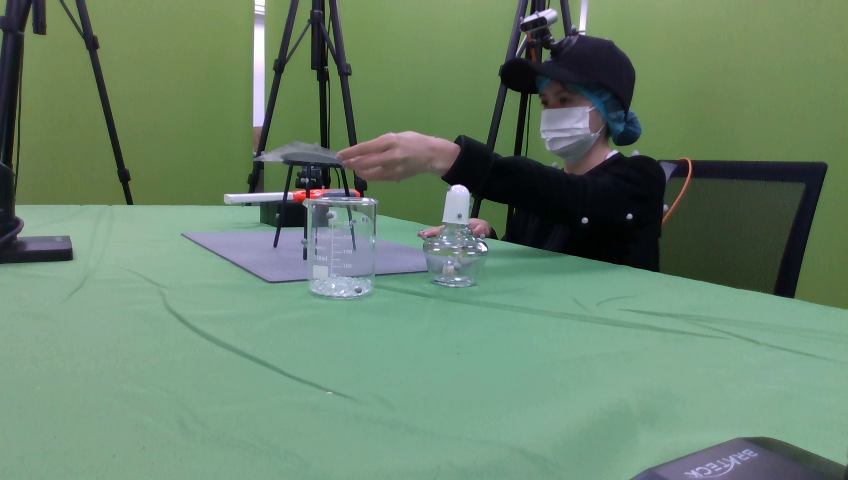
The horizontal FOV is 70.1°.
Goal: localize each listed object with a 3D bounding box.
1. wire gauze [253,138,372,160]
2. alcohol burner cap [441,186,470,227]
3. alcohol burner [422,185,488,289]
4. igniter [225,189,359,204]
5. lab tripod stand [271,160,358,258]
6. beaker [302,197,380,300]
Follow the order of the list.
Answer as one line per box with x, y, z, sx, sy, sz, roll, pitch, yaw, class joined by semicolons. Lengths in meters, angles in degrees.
-0.159;-0.133;0.868;0.124;0.011;0.122;-7;-1;31;wire gauze
0.038;-0.039;0.700;0.034;0.048;0.034;6;4;0;alcohol burner cap
0.036;-0.004;0.705;0.078;0.119;0.078;1;7;0;alcohol burner
-0.264;-0.089;1.239;0.278;0.025;0.057;-5;12;-32;igniter
-0.160;-0.048;0.876;0.148;0.131;0.148;3;5;0;lab tripod stand
-0.089;0.007;0.625;0.084;0.100;0.074;4;7;16;beaker
